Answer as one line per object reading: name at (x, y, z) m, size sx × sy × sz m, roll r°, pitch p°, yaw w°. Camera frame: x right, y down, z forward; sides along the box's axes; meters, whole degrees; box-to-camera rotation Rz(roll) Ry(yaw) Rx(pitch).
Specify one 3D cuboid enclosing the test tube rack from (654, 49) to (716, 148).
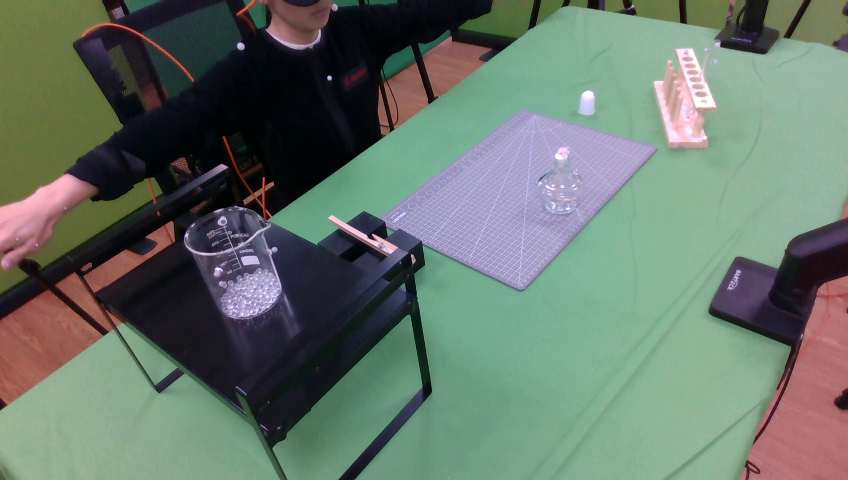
test tube rack at (0.502, -0.281, 1.176) m, size 0.066 × 0.085 × 0.241 m, roll 2°, pitch 41°, yaw 11°

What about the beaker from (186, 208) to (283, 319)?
beaker at (-0.192, 0.026, 0.637) m, size 0.084 × 0.101 × 0.073 m, roll -13°, pitch 41°, yaw -7°

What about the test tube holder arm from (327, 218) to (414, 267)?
test tube holder arm at (-0.085, 0.002, 0.916) m, size 0.177 × 0.015 × 0.013 m, roll 23°, pitch 52°, yaw 32°

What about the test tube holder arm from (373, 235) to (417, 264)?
test tube holder arm at (-0.047, 0.014, 0.895) m, size 0.087 × 0.015 × 0.010 m, roll 25°, pitch 53°, yaw 33°

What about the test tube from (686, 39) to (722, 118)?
test tube at (0.511, -0.292, 1.107) m, size 0.017 × 0.150 × 0.017 m, roll 3°, pitch 39°, yaw -2°

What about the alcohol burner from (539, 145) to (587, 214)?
alcohol burner at (0.226, -0.102, 0.986) m, size 0.078 × 0.119 × 0.077 m, roll -6°, pitch 41°, yaw 6°

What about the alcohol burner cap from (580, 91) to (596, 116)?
alcohol burner cap at (0.338, -0.283, 1.238) m, size 0.034 × 0.048 × 0.033 m, roll -4°, pitch 42°, yaw 4°
